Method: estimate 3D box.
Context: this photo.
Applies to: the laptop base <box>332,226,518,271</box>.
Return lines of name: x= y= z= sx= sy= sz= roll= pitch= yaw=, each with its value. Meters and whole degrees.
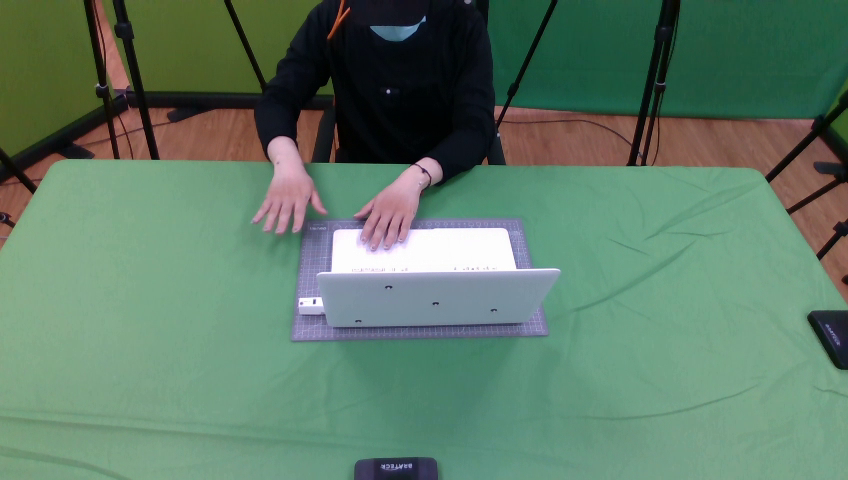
laptop base: x=0.004 y=0.062 z=1.136 sx=0.355 sy=0.023 sz=0.234 roll=-1 pitch=43 yaw=-4

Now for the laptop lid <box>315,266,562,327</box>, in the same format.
laptop lid: x=0.018 y=0.094 z=0.949 sx=0.357 sy=0.242 sz=0.013 roll=0 pitch=64 yaw=-6

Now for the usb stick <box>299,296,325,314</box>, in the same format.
usb stick: x=-0.187 y=0.114 z=1.057 sx=0.059 sy=0.027 sz=0.021 roll=2 pitch=45 yaw=-5
